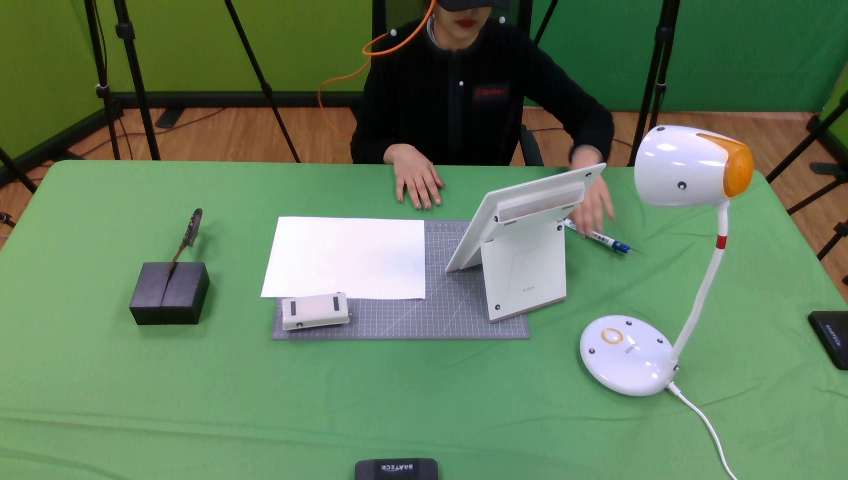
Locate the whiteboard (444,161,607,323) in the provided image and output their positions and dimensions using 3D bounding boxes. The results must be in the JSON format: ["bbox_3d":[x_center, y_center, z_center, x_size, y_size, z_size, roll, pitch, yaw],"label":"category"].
[{"bbox_3d":[0.186,0.025,1.029,0.217,0.306,0.143,-14,68,-18],"label":"whiteboard"}]

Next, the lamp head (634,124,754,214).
[{"bbox_3d":[0.351,-0.089,0.775,0.112,0.113,0.122,-30,30,-28],"label":"lamp head"}]

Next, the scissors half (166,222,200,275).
[{"bbox_3d":[-0.444,0.015,1.116,0.013,0.040,0.174,17,27,-10],"label":"scissors half"}]

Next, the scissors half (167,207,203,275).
[{"bbox_3d":[-0.436,0.000,1.104,0.013,0.040,0.174,21,45,-14],"label":"scissors half"}]

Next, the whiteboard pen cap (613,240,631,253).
[{"bbox_3d":[0.393,0.012,1.207,0.033,0.018,0.018,26,50,28],"label":"whiteboard pen cap"}]

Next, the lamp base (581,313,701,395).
[{"bbox_3d":[0.361,0.144,0.973,0.178,0.181,0.160,34,53,23],"label":"lamp base"}]

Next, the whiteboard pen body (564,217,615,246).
[{"bbox_3d":[0.346,-0.013,1.234,0.140,0.017,0.017,28,51,26],"label":"whiteboard pen body"}]

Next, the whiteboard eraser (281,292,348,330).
[{"bbox_3d":[-0.189,0.124,1.045,0.113,0.042,0.055,-6,46,-10],"label":"whiteboard eraser"}]
